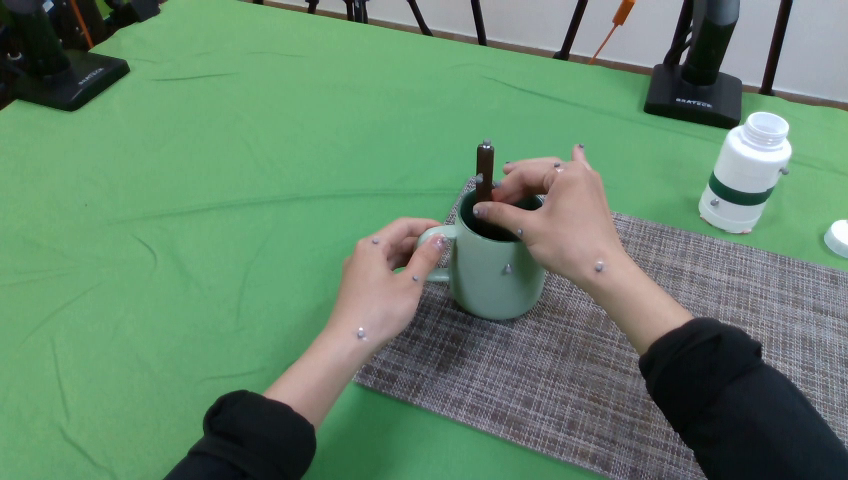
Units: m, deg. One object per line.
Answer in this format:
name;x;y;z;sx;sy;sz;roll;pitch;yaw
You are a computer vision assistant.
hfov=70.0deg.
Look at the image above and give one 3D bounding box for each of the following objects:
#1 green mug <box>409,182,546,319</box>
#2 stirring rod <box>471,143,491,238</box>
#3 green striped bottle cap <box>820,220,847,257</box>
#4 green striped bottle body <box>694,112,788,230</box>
green mug;0.049;0.013;0.552;0.125;0.106;0.091;-6;46;-6
stirring rod;0.048;-0.022;0.527;0.014;0.178;0.006;12;58;11
green striped bottle cap;0.442;-0.001;0.633;0.044;0.020;0.044;1;42;-1
green striped bottle body;0.330;-0.072;0.630;0.063;0.120;0.062;0;46;0
